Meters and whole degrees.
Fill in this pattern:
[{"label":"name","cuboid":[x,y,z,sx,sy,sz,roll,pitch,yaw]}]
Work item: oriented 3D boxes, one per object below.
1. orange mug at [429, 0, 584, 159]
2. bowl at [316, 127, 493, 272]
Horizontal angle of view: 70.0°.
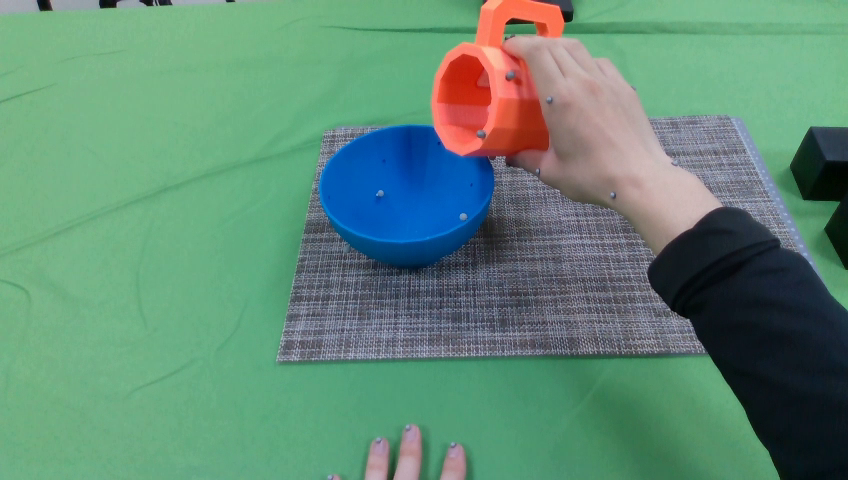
[{"label":"orange mug","cuboid":[0.069,-0.128,0.496,0.101,0.127,0.082,-11,28,-32]},{"label":"bowl","cuboid":[-0.014,-0.025,0.540,0.151,0.077,0.150,-2,47,3]}]
